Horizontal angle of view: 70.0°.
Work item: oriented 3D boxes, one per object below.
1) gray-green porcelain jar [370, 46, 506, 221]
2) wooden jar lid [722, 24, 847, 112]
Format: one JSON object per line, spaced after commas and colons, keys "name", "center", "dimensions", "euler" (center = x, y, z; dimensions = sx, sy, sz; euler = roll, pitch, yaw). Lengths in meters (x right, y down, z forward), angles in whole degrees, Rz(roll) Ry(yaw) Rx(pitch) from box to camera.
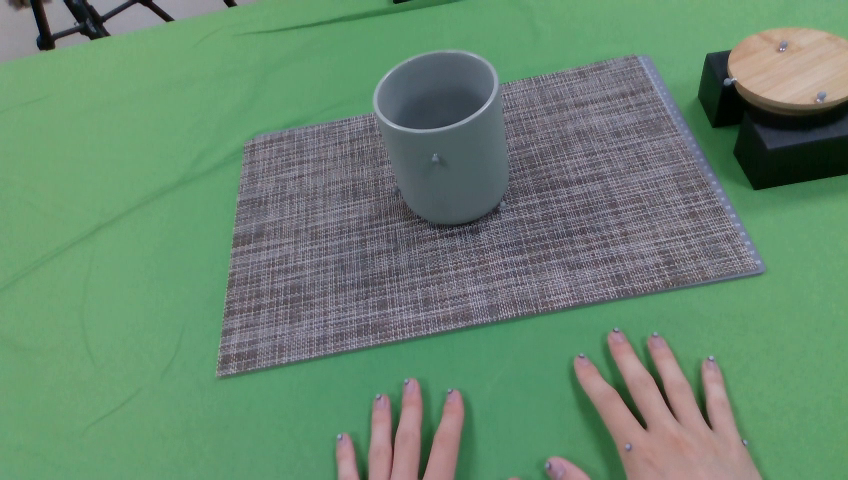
{"name": "gray-green porcelain jar", "center": [0.018, -0.087, 0.538], "dimensions": [0.106, 0.128, 0.105], "euler": [-6, 51, 8]}
{"name": "wooden jar lid", "center": [0.318, -0.150, 0.528], "dimensions": [0.108, 0.021, 0.107], "euler": [-6, 53, 9]}
